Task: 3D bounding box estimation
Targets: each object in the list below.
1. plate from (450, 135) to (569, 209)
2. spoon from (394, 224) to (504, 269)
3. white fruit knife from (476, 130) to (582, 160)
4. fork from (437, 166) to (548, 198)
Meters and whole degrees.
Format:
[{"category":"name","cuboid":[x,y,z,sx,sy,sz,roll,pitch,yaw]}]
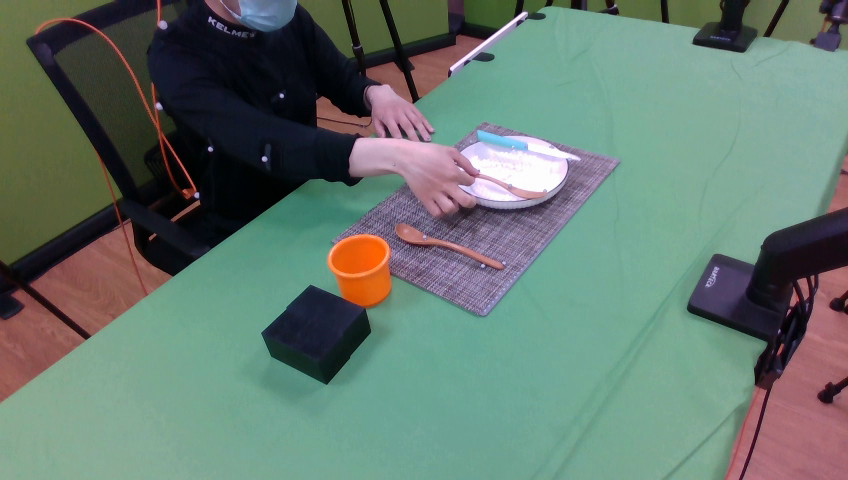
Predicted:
[{"category":"plate","cuboid":[0.149,-0.117,1.065,0.209,0.038,0.208,-4,41,4]},{"category":"spoon","cuboid":[0.037,0.010,0.945,0.192,0.022,0.042,18,29,26]},{"category":"white fruit knife","cuboid":[0.184,-0.170,1.089,0.206,0.016,0.027,18,44,25]},{"category":"fork","cuboid":[0.111,-0.100,1.018,0.206,0.019,0.028,20,41,26]}]
